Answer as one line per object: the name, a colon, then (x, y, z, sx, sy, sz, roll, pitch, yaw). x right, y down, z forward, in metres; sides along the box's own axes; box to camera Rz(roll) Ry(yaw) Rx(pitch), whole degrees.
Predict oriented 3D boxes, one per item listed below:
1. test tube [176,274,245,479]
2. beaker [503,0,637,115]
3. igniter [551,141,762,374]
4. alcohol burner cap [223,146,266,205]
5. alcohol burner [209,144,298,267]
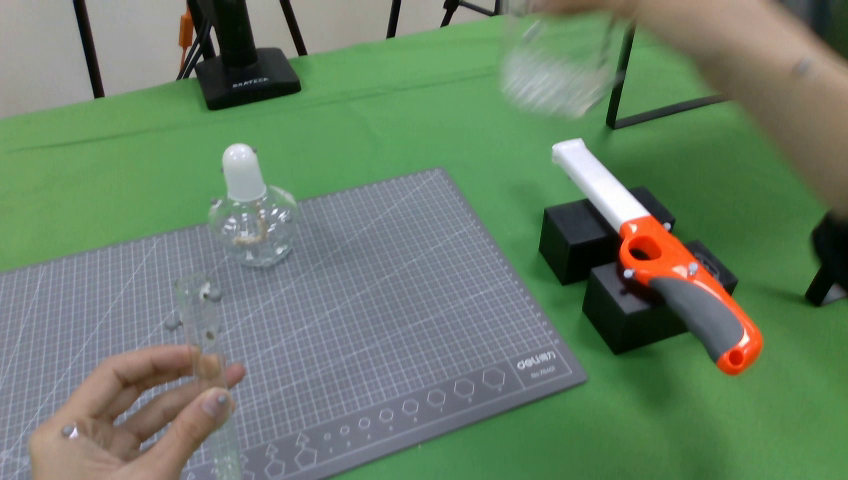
test tube: (-0.111, 0.083, 0.321, 0.017, 0.151, 0.017, 2, 32, -1)
beaker: (0.085, -0.132, 0.356, 0.084, 0.101, 0.073, -27, 51, -26)
igniter: (0.175, -0.003, 0.491, 0.057, 0.025, 0.273, -14, 42, -9)
alcohol burner cap: (-0.154, -0.058, 0.513, 0.034, 0.048, 0.033, 1, 41, -1)
alcohol burner: (-0.153, -0.034, 0.533, 0.078, 0.120, 0.077, 1, 43, 0)
